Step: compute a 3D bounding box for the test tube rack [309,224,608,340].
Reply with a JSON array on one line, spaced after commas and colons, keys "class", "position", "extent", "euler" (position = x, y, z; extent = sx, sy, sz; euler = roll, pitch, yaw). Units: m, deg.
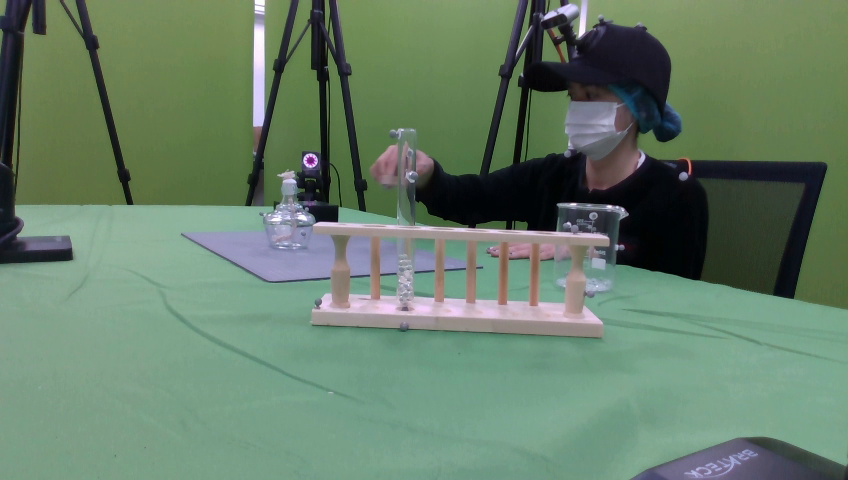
[{"class": "test tube rack", "position": [0.028, 0.032, 0.528], "extent": [0.242, 0.085, 0.067], "euler": [3, 7, 0]}]

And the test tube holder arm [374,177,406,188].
[{"class": "test tube holder arm", "position": [-0.053, -0.093, 0.984], "extent": [0.013, 0.015, 0.178], "euler": [6, 4, 9]}]

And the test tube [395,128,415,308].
[{"class": "test tube", "position": [-0.016, -0.016, 0.501], "extent": [0.017, 0.150, 0.017], "euler": [1, 10, 0]}]

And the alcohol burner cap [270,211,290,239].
[{"class": "alcohol burner cap", "position": [-0.246, -0.026, 1.035], "extent": [0.034, 0.048, 0.034], "euler": [2, 8, 0]}]

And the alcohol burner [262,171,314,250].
[{"class": "alcohol burner", "position": [-0.205, -0.045, 0.913], "extent": [0.078, 0.119, 0.078], "euler": [1, 9, 0]}]

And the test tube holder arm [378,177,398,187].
[{"class": "test tube holder arm", "position": [-0.055, -0.090, 0.939], "extent": [0.010, 0.015, 0.088], "euler": [6, 4, 10]}]

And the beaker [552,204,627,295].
[{"class": "beaker", "position": [0.191, 0.010, 0.708], "extent": [0.083, 0.100, 0.074], "euler": [8, 9, 33]}]
